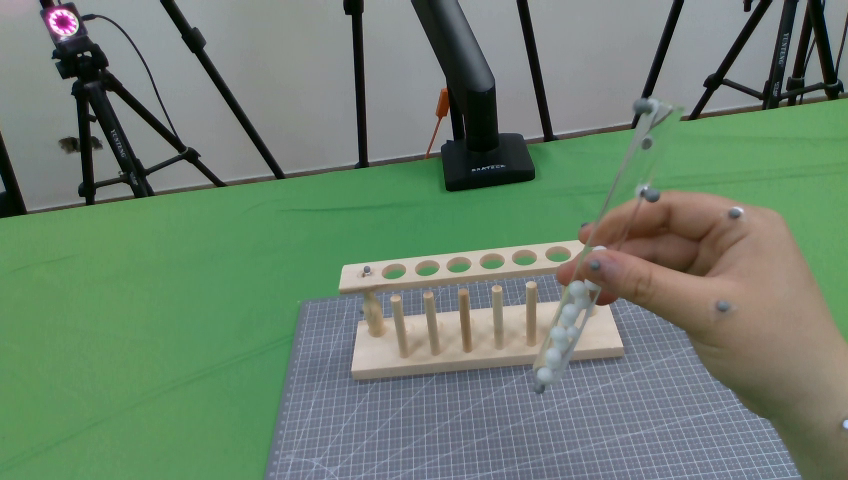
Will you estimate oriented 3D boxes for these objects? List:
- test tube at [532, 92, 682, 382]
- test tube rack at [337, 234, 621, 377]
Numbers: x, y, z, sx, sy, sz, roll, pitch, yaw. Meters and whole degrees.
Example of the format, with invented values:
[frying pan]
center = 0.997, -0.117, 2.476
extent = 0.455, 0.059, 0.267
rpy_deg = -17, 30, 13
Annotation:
[test tube]
center = 0.081, 0.005, 0.282
extent = 0.017, 0.151, 0.017
rpy_deg = 14, 24, -6
[test tube rack]
center = 0.049, 0.060, 0.546
extent = 0.242, 0.086, 0.066
rpy_deg = -6, 37, 5
